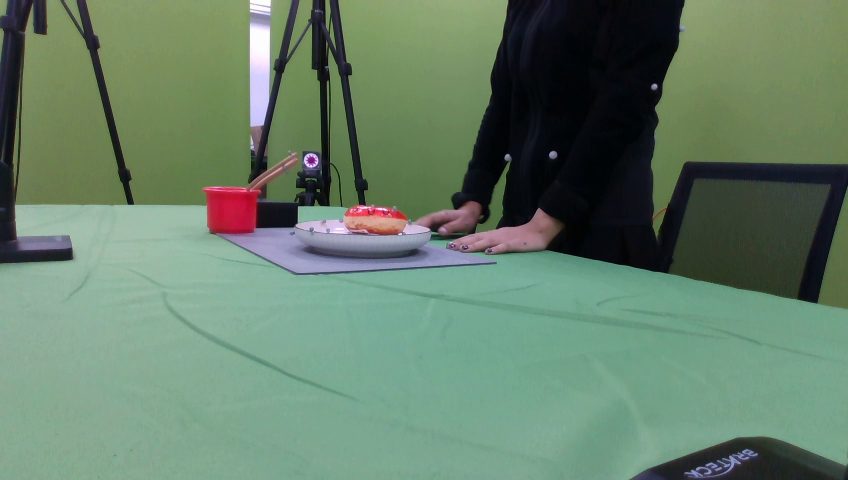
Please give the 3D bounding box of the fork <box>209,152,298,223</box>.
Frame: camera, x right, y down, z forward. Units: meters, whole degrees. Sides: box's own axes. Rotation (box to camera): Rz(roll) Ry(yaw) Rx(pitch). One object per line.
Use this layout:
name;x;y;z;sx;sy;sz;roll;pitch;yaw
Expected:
fork;-0.296;-0.088;1.044;0.207;0.018;0.028;-38;10;16

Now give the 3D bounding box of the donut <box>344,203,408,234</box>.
donut;-0.073;-0.031;0.931;0.099;0.048;0.099;4;3;0

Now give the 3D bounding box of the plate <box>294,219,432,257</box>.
plate;-0.092;-0.004;0.924;0.209;0.038;0.209;2;7;0

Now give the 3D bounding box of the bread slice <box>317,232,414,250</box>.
bread slice;-0.093;0.000;0.915;0.132;0.019;0.104;0;6;-26

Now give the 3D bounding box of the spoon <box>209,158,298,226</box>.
spoon;-0.303;-0.086;1.082;0.194;0.022;0.041;-44;24;-8
